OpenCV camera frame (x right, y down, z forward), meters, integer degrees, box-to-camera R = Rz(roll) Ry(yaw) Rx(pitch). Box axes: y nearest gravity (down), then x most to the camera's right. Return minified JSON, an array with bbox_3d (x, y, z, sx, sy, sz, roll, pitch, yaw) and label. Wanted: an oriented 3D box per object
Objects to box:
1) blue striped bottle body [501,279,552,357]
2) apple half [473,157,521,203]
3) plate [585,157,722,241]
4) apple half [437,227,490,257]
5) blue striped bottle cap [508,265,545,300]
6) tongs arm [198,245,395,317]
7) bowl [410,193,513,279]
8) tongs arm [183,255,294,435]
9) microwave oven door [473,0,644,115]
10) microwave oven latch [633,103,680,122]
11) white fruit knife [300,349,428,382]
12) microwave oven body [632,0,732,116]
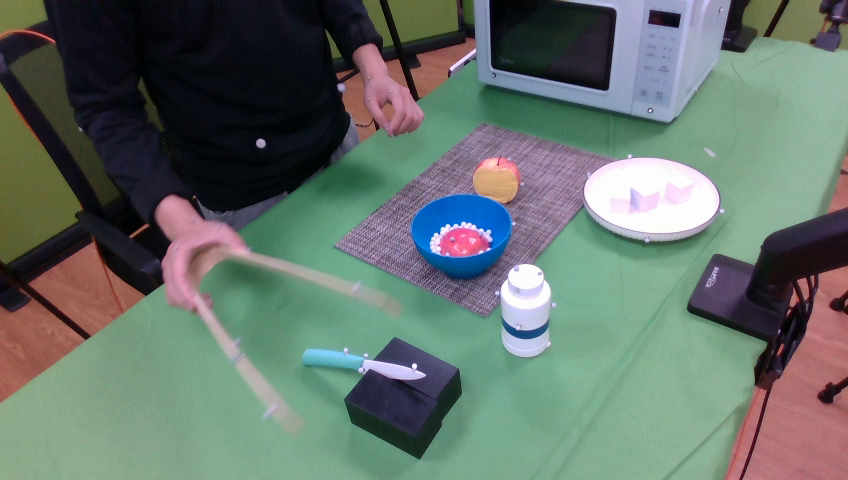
[{"bbox_3d":[0.129,0.089,0.769,0.063,0.121,0.063,-4,41,4],"label":"blue striped bottle body"},{"bbox_3d":[0.128,-0.107,1.030,0.080,0.075,0.053,4,38,19],"label":"apple half"},{"bbox_3d":[0.367,-0.063,0.979,0.207,0.039,0.206,-4,40,4],"label":"plate"},{"bbox_3d":[0.056,0.002,0.902,0.081,0.033,0.081,-3,41,3],"label":"apple half"},{"bbox_3d":[0.125,0.051,0.735,0.044,0.021,0.044,-5,37,4],"label":"blue striped bottle cap"},{"bbox_3d":[-0.160,0.040,0.674,0.384,0.028,0.028,10,61,47],"label":"tongs arm"},{"bbox_3d":[0.058,0.005,0.905,0.151,0.077,0.150,-4,40,4],"label":"bowl"},{"bbox_3d":[-0.205,0.092,0.653,0.051,0.027,0.381,-48,35,-13],"label":"tongs arm"},{"bbox_3d":[0.257,-0.396,1.199,0.353,0.245,0.039,21,48,29],"label":"microwave oven door"},{"bbox_3d":[0.444,-0.249,1.158,0.078,0.029,0.030,21,49,30],"label":"microwave oven latch"},{"bbox_3d":[-0.080,0.155,0.748,0.206,0.027,0.016,0,20,34],"label":"white fruit knife"},{"bbox_3d":[0.377,-0.462,1.267,0.438,0.261,0.327,21,49,30],"label":"microwave oven body"}]
